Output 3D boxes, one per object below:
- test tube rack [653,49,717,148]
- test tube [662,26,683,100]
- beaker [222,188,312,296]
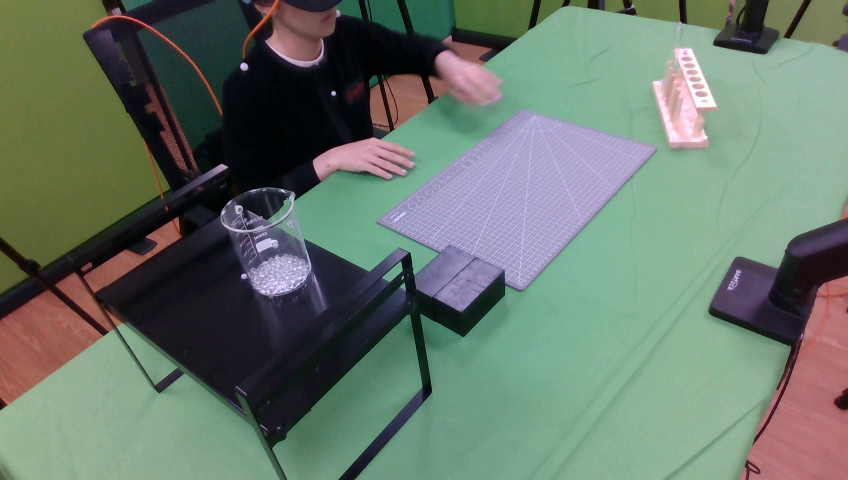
[{"bbox_3d":[0.502,-0.281,1.177,0.066,0.085,0.241,1,41,10],"label":"test tube rack"},{"bbox_3d":[0.485,-0.343,1.182,0.017,0.151,0.017,-3,41,3],"label":"test tube"},{"bbox_3d":[-0.165,0.003,0.659,0.073,0.101,0.084,28,51,34],"label":"beaker"}]
